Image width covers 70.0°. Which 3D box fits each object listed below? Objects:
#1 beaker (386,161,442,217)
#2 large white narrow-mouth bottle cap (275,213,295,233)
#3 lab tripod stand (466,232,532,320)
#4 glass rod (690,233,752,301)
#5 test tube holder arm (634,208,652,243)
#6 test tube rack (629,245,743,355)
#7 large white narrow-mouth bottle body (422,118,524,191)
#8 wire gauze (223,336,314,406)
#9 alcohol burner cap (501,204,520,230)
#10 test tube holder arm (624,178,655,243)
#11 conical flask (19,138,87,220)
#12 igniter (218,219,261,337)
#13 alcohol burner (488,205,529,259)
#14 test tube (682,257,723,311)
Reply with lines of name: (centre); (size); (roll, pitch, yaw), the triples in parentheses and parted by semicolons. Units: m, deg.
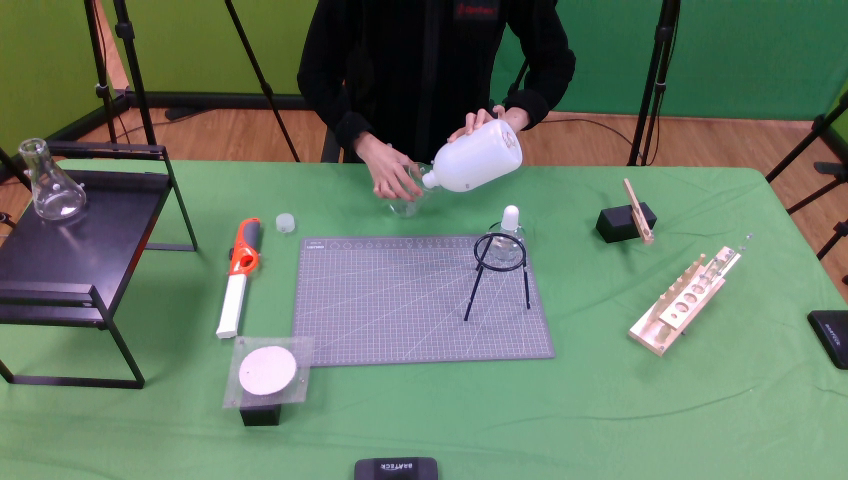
beaker: (-0.022, -0.099, 1.223); (0.084, 0.100, 0.073); (32, 42, -16)
large white narrow-mouth bottle cap: (-0.277, -0.034, 1.213); (0.038, 0.024, 0.037); (3, 46, -3)
lab tripod stand: (0.125, 0.059, 1.065); (0.148, 0.132, 0.147); (1, 45, 0)
glass rod: (0.507, 0.053, 1.041); (0.008, 0.200, 0.008); (5, 51, -6)
test tube holder arm: (0.428, -0.030, 1.189); (0.010, 0.015, 0.087); (2, 47, -3)
test tube rack: (0.474, 0.095, 1.091); (0.242, 0.085, 0.066); (-34, 56, -31)
large white narrow-mouth bottle body: (0.083, -0.149, 1.148); (0.194, 0.102, 0.101); (-23, 38, 28)
wire gauze: (-0.237, 0.197, 0.931); (0.121, 0.011, 0.124); (1, 45, -4)
alcohol burner cap: (0.164, -0.046, 1.133); (0.034, 0.048, 0.033); (2, 40, -2)
test tube holder arm: (0.432, -0.062, 1.220); (0.013, 0.015, 0.177); (1, 47, -3)
conical flask: (-0.576, -0.097, 0.930); (0.075, 0.122, 0.075); (2, 46, -2)
igniter: (-0.336, 0.059, 1.111); (0.057, 0.025, 0.274); (-8, 46, 3)
alcohol burner: (0.163, -0.020, 1.158); (0.078, 0.120, 0.077); (0, 47, 0)
test tube: (0.475, 0.080, 1.037); (0.017, 0.151, 0.017); (1, 51, -1)
